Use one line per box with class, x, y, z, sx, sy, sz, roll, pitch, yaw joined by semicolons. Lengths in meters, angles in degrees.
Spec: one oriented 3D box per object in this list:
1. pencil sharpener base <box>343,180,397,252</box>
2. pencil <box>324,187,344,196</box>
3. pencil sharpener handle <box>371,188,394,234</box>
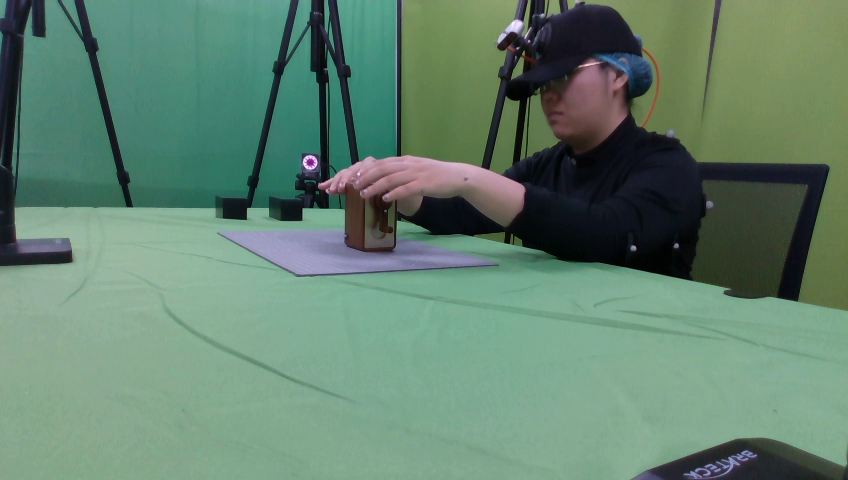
pencil sharpener base;-0.085;-0.038;0.956;0.062;0.107;0.076;-2;9;-33
pencil;-0.127;-0.076;1.020;0.012;0.012;0.193;-2;10;-32
pencil sharpener handle;-0.057;-0.044;0.913;0.036;0.067;0.030;-6;11;-32
